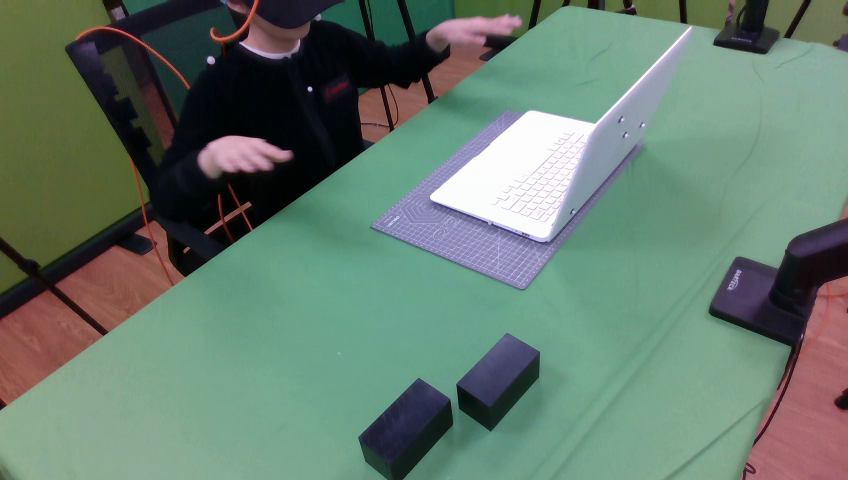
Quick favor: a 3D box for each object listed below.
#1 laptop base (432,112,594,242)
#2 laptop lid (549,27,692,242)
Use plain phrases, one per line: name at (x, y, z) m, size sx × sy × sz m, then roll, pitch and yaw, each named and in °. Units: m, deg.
laptop base at (0.208, -0.129, 1.098) m, size 0.233 × 0.023 × 0.355 m, roll 20°, pitch 47°, yaw 34°
laptop lid at (0.311, -0.167, 0.948) m, size 0.013 × 0.242 × 0.358 m, roll 33°, pitch 52°, yaw 20°
